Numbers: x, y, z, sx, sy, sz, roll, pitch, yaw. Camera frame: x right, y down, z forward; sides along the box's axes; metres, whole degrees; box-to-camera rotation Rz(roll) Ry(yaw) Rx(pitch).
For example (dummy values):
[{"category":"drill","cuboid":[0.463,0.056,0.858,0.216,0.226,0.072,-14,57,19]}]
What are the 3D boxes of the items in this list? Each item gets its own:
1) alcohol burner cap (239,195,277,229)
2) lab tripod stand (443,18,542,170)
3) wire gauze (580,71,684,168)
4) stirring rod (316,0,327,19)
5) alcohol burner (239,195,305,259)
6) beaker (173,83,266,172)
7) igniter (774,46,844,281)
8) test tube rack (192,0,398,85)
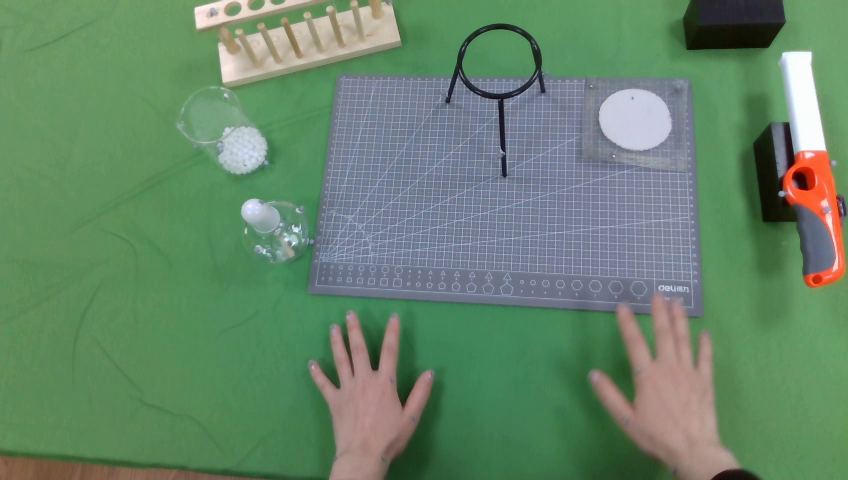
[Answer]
[{"category":"alcohol burner cap","cuboid":[-0.183,-0.032,0.657,0.034,0.048,0.033,-1,76,5]},{"category":"lab tripod stand","cuboid":[0.084,-0.173,0.697,0.148,0.132,0.147,-1,74,4]},{"category":"wire gauze","cuboid":[0.254,-0.151,0.740,0.125,0.011,0.121,7,73,5]},{"category":"stirring rod","cuboid":[-0.133,-0.333,0.714,0.014,0.177,0.006,9,61,8]},{"category":"alcohol burner","cuboid":[-0.178,-0.021,0.691,0.078,0.120,0.077,-1,70,4]},{"category":"beaker","cuboid":[-0.244,-0.131,0.739,0.084,0.101,0.073,-11,71,3]},{"category":"igniter","cuboid":[0.409,-0.089,0.649,0.057,0.025,0.274,1,70,9]},{"category":"test tube rack","cuboid":[-0.163,-0.279,0.783,0.242,0.086,0.066,-14,72,1]}]
